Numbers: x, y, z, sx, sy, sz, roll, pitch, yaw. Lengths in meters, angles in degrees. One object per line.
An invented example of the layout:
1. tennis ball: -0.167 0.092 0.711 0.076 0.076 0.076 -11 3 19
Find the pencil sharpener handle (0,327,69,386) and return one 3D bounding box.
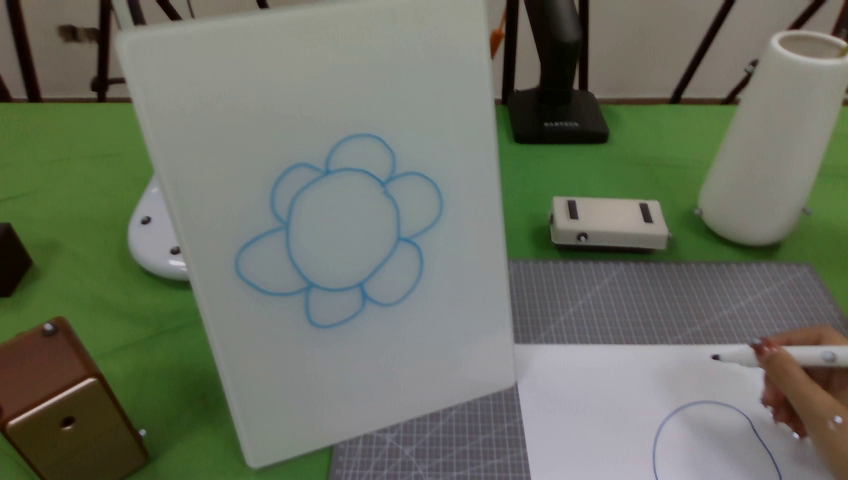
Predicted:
1. pencil sharpener handle: -0.284 0.080 0.440 0.036 0.068 0.030 -37 52 -24

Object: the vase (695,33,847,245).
1. vase: 0.338 -0.091 0.588 0.098 0.202 0.097 1 41 0

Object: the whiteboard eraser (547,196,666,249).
1. whiteboard eraser: 0.185 -0.016 0.622 0.112 0.042 0.055 1 39 3

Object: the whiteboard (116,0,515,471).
1. whiteboard: -0.065 -0.019 0.467 0.218 0.307 0.142 -13 24 -13

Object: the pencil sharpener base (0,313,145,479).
1. pencil sharpener base: -0.251 0.115 0.419 0.061 0.108 0.076 -31 50 -30

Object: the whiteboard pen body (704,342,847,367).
1. whiteboard pen body: 0.261 0.078 0.415 0.140 0.017 0.017 -13 22 49

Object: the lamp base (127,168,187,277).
1. lamp base: -0.234 -0.082 0.589 0.177 0.182 0.160 30 49 32

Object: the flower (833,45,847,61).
1. flower: 0.348 -0.144 0.523 0.044 0.364 0.038 -17 62 -27
